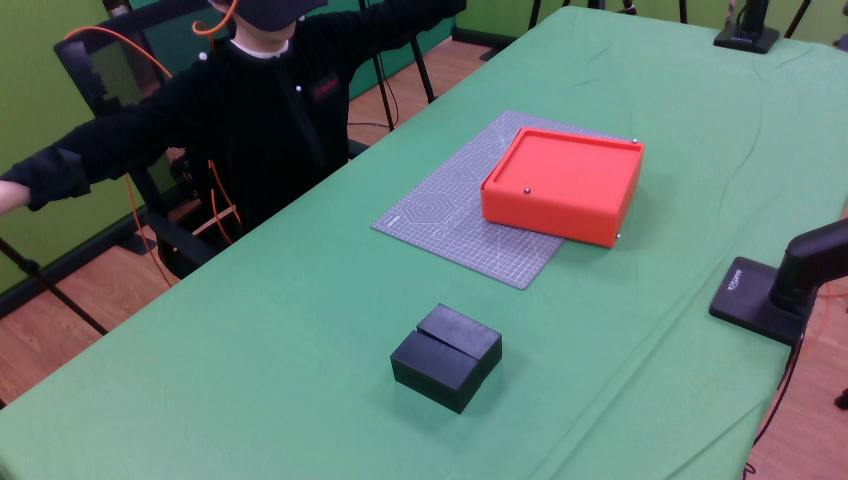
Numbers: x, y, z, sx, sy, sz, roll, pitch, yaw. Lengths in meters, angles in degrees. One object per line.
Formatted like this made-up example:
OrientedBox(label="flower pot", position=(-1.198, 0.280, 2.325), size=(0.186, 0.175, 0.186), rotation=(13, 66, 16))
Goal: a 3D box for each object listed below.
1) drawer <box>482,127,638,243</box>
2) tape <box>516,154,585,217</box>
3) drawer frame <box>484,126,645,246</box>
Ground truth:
OrientedBox(label="drawer", position=(0.228, -0.097, 1.007), size=(0.210, 0.073, 0.194), rotation=(14, 44, 23))
OrientedBox(label="tape", position=(0.211, -0.093, 1.010), size=(0.117, 0.053, 0.116), rotation=(-6, 39, 5))
OrientedBox(label="drawer frame", position=(0.234, -0.096, 1.003), size=(0.212, 0.083, 0.202), rotation=(14, 44, 22))
